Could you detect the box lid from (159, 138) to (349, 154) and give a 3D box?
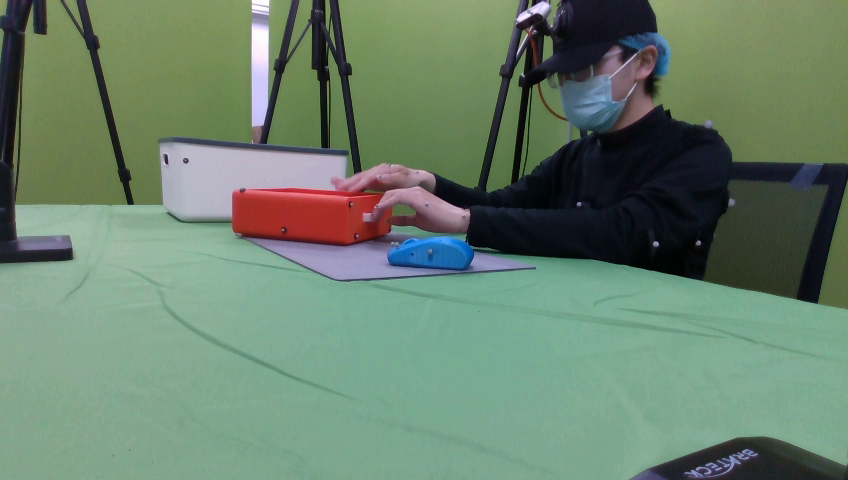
[{"bbox_3d":[-0.376,-0.206,1.344,0.373,0.015,0.262,-1,8,-30],"label":"box lid"}]

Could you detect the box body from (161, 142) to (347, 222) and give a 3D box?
[{"bbox_3d":[-0.380,-0.132,1.352,0.366,0.160,0.253,-2,9,-30],"label":"box body"}]

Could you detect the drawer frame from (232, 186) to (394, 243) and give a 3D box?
[{"bbox_3d":[-0.186,-0.049,1.060,0.213,0.082,0.202,4,8,17],"label":"drawer frame"}]

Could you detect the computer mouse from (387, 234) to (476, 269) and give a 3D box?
[{"bbox_3d":[0.010,0.014,0.805,0.117,0.041,0.063,-1,8,10],"label":"computer mouse"}]

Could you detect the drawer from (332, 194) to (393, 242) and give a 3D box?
[{"bbox_3d":[-0.184,-0.047,1.060,0.211,0.073,0.195,4,8,18],"label":"drawer"}]
